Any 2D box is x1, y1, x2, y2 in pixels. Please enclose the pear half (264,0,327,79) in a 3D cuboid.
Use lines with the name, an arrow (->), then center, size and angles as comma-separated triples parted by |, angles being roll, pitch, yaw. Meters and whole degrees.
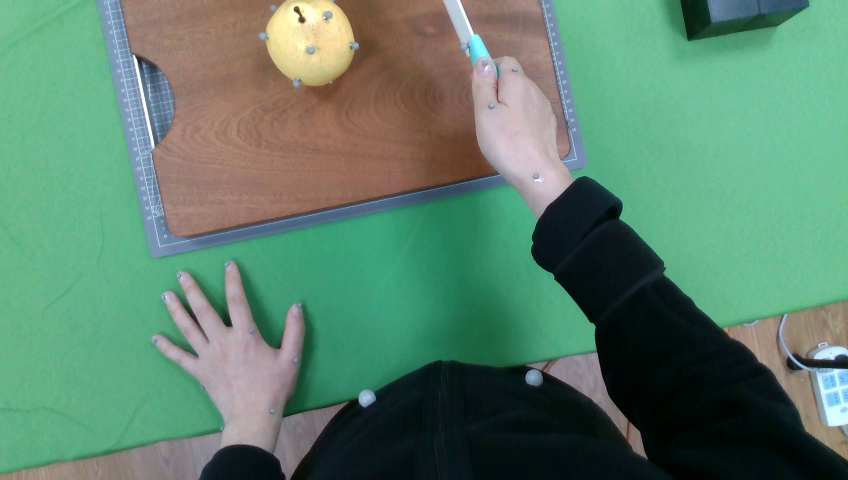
pear half -> -0.115, -0.185, 0.533 | 0.056, 0.110, 0.076 | -9, 85, -2

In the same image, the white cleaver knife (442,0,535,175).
white cleaver knife -> 0.033, -0.188, 0.516 | 0.021, 0.065, 0.288 | -24, 105, 0

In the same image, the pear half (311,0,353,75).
pear half -> -0.080, -0.189, 0.545 | 0.031, 0.088, 0.070 | -9, 85, -4
